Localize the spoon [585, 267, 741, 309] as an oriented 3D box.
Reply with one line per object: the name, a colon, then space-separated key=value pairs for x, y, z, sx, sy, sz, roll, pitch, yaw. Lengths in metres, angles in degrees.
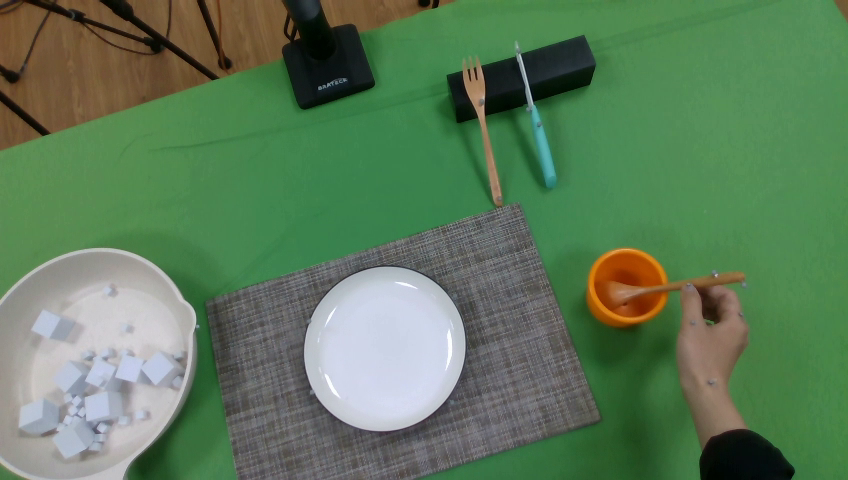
spoon: x=0.269 y=0.050 z=0.706 sx=0.193 sy=0.022 sz=0.041 roll=-16 pitch=71 yaw=43

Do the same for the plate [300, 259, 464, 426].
plate: x=-0.052 y=0.128 z=0.769 sx=0.207 sy=0.039 sz=0.206 roll=-1 pitch=73 yaw=5

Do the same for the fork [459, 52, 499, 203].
fork: x=0.078 y=-0.153 z=0.826 sx=0.028 sy=0.018 sz=0.207 roll=-12 pitch=91 yaw=-6

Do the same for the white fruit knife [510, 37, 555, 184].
white fruit knife: x=0.145 y=-0.178 z=0.827 sx=0.016 sy=0.027 sz=0.207 roll=-15 pitch=87 yaw=-1

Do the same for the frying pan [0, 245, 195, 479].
frying pan: x=-0.394 y=0.239 z=0.733 sx=0.307 sy=0.103 sz=0.483 roll=-21 pitch=64 yaw=-1
